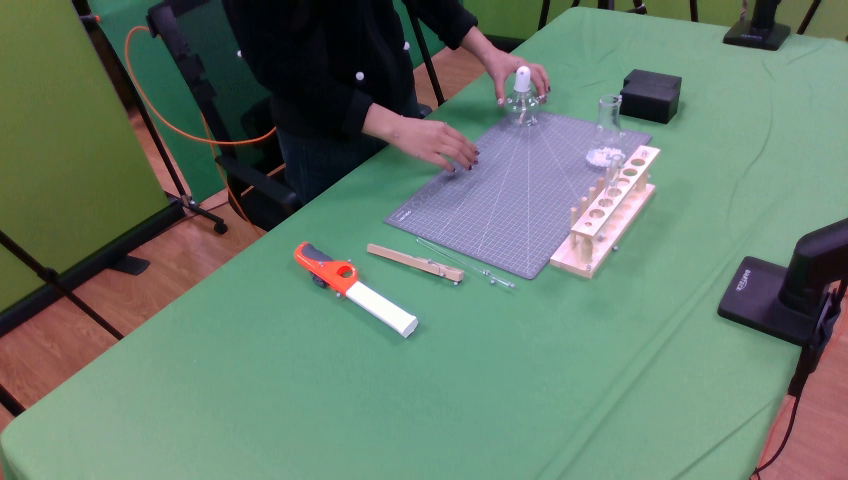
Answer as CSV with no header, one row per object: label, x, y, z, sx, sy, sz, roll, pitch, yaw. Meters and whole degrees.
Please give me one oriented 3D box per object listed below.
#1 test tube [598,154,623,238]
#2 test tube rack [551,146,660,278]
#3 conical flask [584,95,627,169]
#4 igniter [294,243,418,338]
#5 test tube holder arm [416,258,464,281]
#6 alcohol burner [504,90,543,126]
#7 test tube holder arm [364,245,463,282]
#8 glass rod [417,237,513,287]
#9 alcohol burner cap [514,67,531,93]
test tube,0.269,-0.059,0.876,0.017,0.151,0.017,-2,43,3
test tube rack,0.286,-0.053,0.943,0.066,0.085,0.243,21,49,32
conical flask,0.324,-0.192,1.066,0.075,0.122,0.075,-6,40,5
igniter,-0.114,0.070,0.919,0.274,0.025,0.057,29,63,37
test tube holder arm,0.022,0.045,0.931,0.087,0.015,0.010,16,10,28
alcohol burner,0.200,-0.291,1.214,0.078,0.119,0.077,-4,39,4
test tube holder arm,-0.020,0.034,0.947,0.177,0.015,0.013,16,10,26
glass rod,0.059,0.032,0.945,0.198,0.008,0.008,26,52,38
alcohol burner cap,0.196,-0.318,1.190,0.034,0.048,0.033,-1,45,1
